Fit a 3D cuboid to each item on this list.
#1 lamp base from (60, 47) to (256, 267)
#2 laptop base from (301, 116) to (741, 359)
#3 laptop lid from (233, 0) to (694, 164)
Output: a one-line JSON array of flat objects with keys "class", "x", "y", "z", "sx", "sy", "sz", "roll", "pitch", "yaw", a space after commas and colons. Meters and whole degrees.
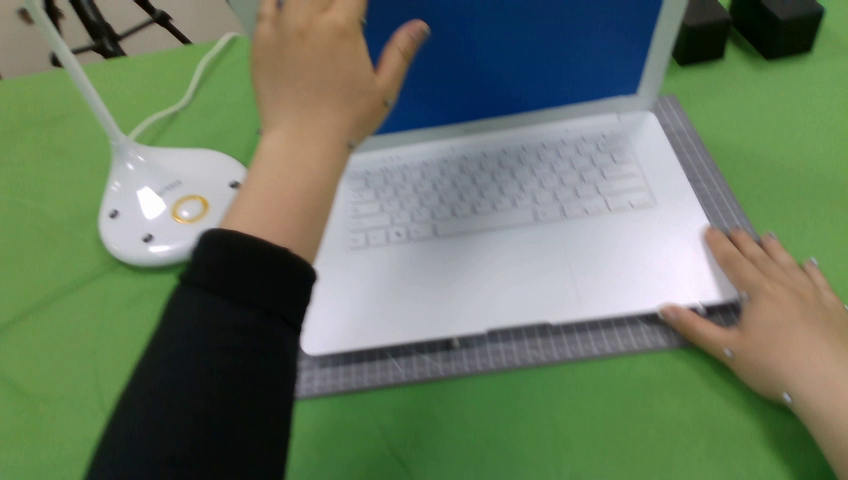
[{"class": "lamp base", "x": -0.276, "y": -0.090, "z": 0.584, "sx": 0.177, "sy": 0.182, "sz": 0.160, "roll": 23, "pitch": 56, "yaw": 31}, {"class": "laptop base", "x": 0.068, "y": -0.011, "z": 0.556, "sx": 0.354, "sy": 0.023, "sz": 0.233, "roll": -8, "pitch": 51, "yaw": 3}, {"class": "laptop lid", "x": 0.046, "y": -0.153, "z": 0.528, "sx": 0.356, "sy": 0.244, "sz": 0.013, "roll": -9, "pitch": 64, "yaw": 5}]
